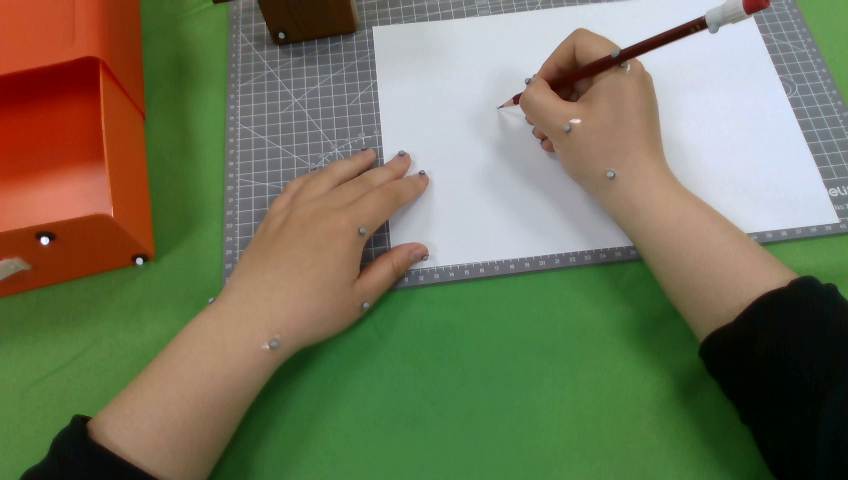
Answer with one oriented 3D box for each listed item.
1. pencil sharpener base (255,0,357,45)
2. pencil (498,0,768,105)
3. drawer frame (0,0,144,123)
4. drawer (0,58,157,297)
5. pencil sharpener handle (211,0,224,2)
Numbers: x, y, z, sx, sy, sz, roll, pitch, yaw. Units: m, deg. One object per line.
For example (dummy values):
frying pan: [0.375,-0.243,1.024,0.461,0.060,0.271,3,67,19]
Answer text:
pencil sharpener base: [-0.097,-0.204,0.442,0.077,0.108,0.061,-12,66,-2]
pencil: [0.107,-0.107,0.364,0.012,0.193,0.012,3,84,-34]
drawer frame: [-0.326,-0.169,0.453,0.202,0.083,0.211,-14,65,-3]
drawer: [-0.297,-0.065,0.407,0.194,0.074,0.210,-15,66,-3]
pencil sharpener handle: [-0.147,-0.198,0.428,0.030,0.068,0.035,-12,63,-2]
